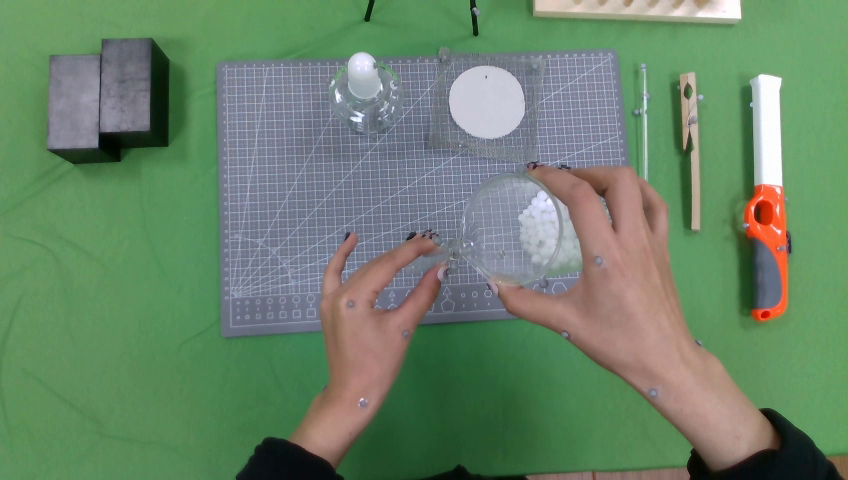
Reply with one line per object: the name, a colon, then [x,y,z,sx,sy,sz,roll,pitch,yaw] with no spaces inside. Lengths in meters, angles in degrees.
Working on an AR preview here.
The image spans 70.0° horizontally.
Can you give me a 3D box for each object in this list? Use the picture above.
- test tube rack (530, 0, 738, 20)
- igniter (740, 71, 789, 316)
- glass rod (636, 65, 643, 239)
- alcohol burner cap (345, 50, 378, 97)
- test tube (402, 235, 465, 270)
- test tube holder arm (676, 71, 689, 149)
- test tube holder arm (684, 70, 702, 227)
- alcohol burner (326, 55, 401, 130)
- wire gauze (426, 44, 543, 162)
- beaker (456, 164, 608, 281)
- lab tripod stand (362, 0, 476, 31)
test tube rack: [0.245,-0.298,0.670,0.242,0.085,0.066,1,82,-3]
igniter: [0.378,-0.053,0.674,0.057,0.025,0.275,5,82,-13]
glass rod: [0.242,-0.100,0.681,0.008,0.008,0.199,3,84,-3]
alcohol burner cap: [-0.061,-0.162,0.579,0.034,0.048,0.033,1,76,-3]
test tube: [0.004,0.012,0.495,0.017,0.150,0.017,2,83,-14]
test tube holder arm: [0.294,-0.147,0.687,0.010,0.015,0.087,-5,82,32]
test tube holder arm: [0.300,-0.103,0.679,0.013,0.015,0.178,-7,81,32]
alcohol burner: [-0.062,-0.156,0.614,0.078,0.119,0.077,0,82,-1]
wire gauze: [0.068,-0.155,0.676,0.125,0.011,0.121,8,83,-3]
beaker: [0.080,-0.010,0.431,0.084,0.101,0.073,-25,78,34]
lab tripod stand: [0.001,-0.289,0.629,0.148,0.131,0.148,0,84,-3]
